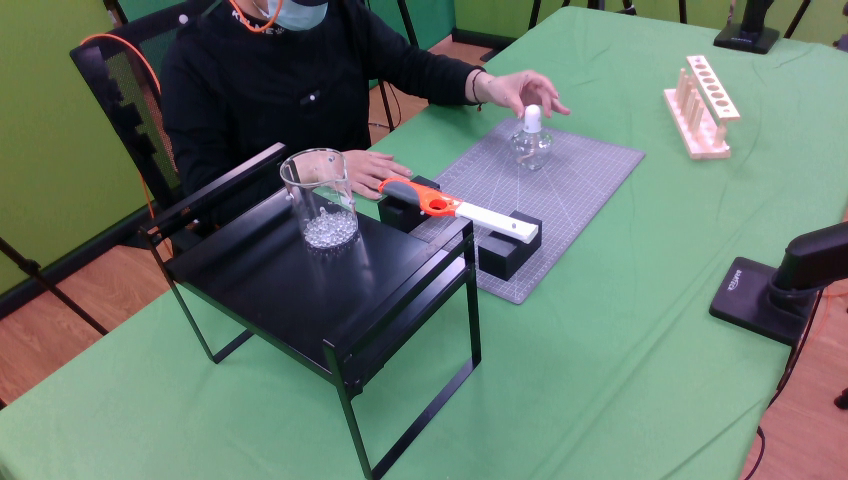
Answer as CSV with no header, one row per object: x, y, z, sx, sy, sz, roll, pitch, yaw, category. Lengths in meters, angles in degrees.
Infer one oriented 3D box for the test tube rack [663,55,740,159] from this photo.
0.518,-0.256,1.144,0.066,0.085,0.241,-1,41,8,test tube rack

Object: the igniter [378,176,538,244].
0.046,-0.052,0.942,0.274,0.025,0.057,21,47,27,igniter

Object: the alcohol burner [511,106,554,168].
0.196,-0.190,1.089,0.078,0.119,0.077,-3,42,3,alcohol burner

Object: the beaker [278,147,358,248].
-0.117,-0.046,0.705,0.083,0.101,0.074,17,47,25,beaker

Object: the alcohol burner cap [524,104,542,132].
0.192,-0.216,1.065,0.034,0.048,0.033,-4,36,4,alcohol burner cap
